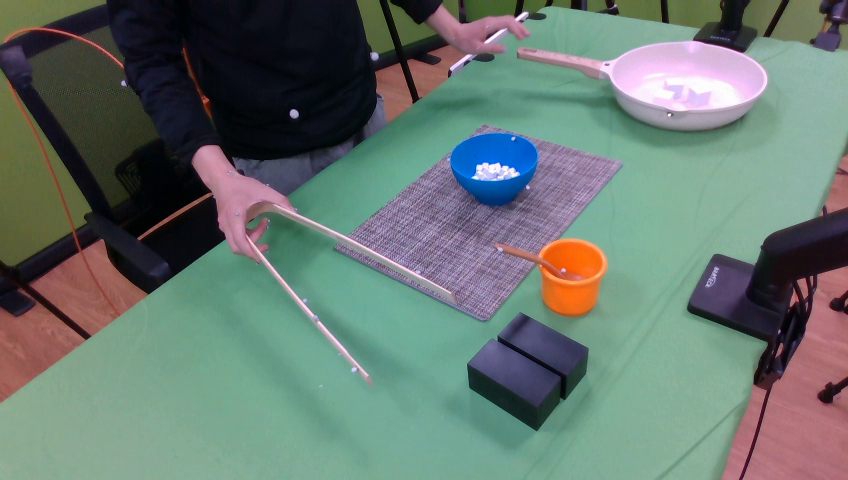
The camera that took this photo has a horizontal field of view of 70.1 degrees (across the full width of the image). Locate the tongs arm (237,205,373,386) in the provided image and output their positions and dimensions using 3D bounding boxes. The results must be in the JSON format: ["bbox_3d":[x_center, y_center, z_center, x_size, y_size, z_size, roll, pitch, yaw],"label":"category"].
[{"bbox_3d":[-0.167,0.059,0.822,0.051,0.027,0.381,-41,51,-15],"label":"tongs arm"}]

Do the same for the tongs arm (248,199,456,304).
[{"bbox_3d":[-0.113,0.009,0.848,0.384,0.028,0.028,24,66,32],"label":"tongs arm"}]

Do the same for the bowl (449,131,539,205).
[{"bbox_3d":[0.120,-0.114,1.034,0.151,0.077,0.150,-4,41,4],"label":"bowl"}]

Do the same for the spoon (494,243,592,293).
[{"bbox_3d":[0.162,0.034,0.808,0.021,0.195,0.041,-47,40,21],"label":"spoon"}]

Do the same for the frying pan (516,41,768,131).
[{"bbox_3d":[0.424,-0.338,1.236,0.486,0.103,0.307,19,45,15],"label":"frying pan"}]
